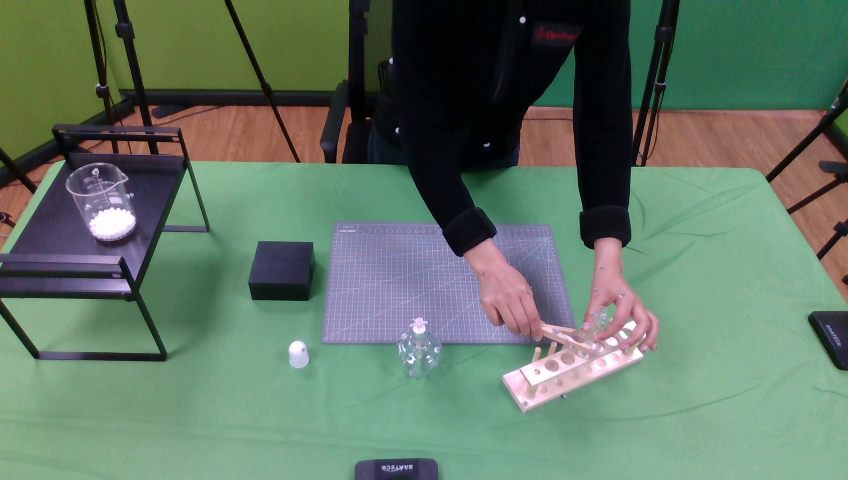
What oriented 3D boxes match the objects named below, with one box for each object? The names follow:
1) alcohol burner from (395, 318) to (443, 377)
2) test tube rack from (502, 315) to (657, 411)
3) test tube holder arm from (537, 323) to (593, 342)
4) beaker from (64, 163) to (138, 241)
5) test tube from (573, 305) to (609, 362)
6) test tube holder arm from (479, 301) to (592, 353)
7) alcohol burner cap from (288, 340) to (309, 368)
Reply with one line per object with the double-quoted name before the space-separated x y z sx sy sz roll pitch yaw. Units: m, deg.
"alcohol burner" -0.008 0.167 0.971 0.078 0.120 0.077 1 46 0
"test tube rack" 0.253 0.187 0.988 0.242 0.085 0.066 -18 50 -20
"test tube holder arm" 0.213 0.141 0.926 0.088 0.015 0.010 9 39 -3
"beaker" -0.477 -0.055 0.910 0.084 0.101 0.073 -9 48 -13
"test tube" 0.249 0.146 0.910 0.017 0.151 0.017 3 48 -3
"test tube holder arm" 0.169 0.132 0.927 0.178 0.015 0.013 20 38 11
"alcohol burner cap" -0.206 0.183 0.991 0.034 0.048 0.033 3 47 -3
